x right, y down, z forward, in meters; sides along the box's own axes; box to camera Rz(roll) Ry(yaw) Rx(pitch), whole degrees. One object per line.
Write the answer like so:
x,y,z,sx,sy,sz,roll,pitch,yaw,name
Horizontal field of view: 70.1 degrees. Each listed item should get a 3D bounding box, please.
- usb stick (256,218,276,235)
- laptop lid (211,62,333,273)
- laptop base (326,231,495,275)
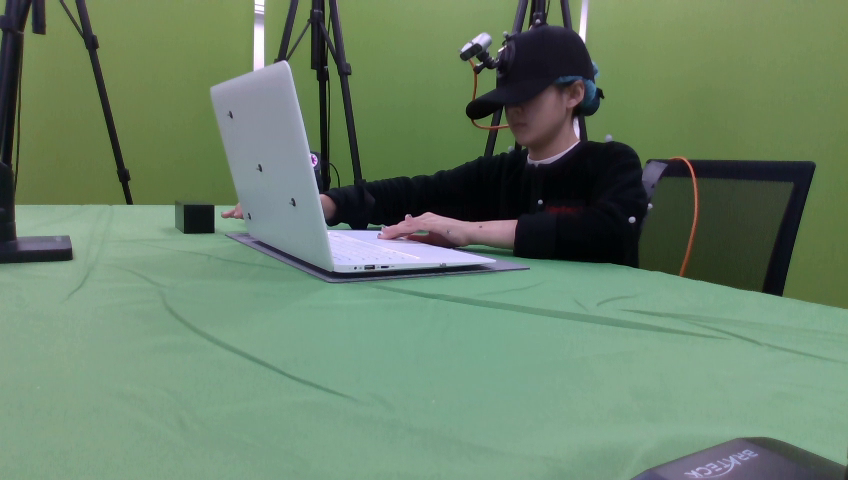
-0.261,-0.022,1.006,0.021,0.027,0.059,-4,11,-29,usb stick
-0.212,-0.095,0.792,0.013,0.241,0.355,-18,18,-28,laptop lid
-0.092,0.016,0.884,0.237,0.023,0.352,3,6,-32,laptop base
